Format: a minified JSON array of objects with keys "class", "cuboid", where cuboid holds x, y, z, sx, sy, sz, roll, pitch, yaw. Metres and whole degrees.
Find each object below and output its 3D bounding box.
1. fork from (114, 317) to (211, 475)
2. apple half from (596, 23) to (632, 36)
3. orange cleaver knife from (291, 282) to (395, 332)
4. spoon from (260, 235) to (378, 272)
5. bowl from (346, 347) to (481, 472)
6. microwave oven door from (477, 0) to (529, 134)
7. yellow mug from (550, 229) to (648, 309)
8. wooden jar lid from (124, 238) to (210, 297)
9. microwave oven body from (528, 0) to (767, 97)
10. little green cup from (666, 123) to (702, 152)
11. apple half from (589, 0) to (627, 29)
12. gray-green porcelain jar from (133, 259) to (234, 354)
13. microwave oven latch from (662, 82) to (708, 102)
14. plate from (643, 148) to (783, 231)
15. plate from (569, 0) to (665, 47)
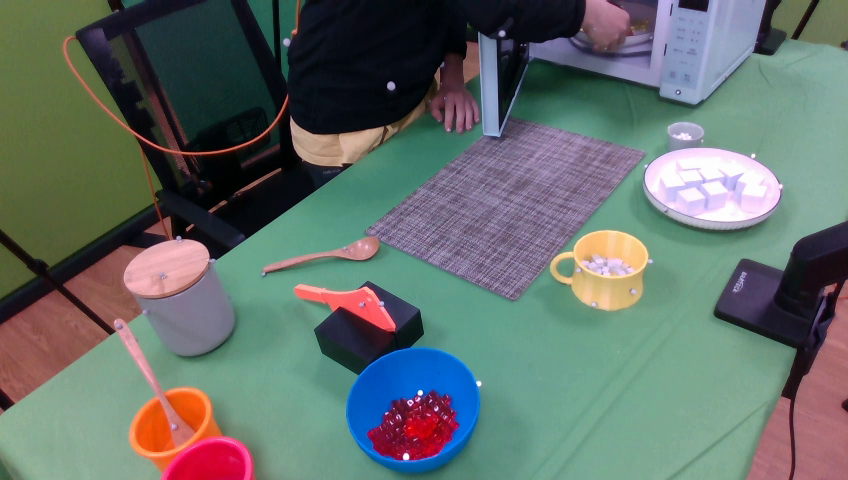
[{"class":"fork","cuboid":[-0.309,0.180,0.708,0.028,0.018,0.207,-30,89,-25]},{"class":"apple half","cuboid":[0.417,-0.460,1.328,0.081,0.033,0.081,-2,38,2]},{"class":"orange cleaver knife","cuboid":[-0.116,0.091,0.835,0.209,0.077,0.012,1,32,47]},{"class":"spoon","cuboid":[-0.168,0.024,0.966,0.194,0.022,0.041,-10,58,-3]},{"class":"bowl","cuboid":[-0.008,0.205,0.691,0.151,0.077,0.150,-4,40,4]},{"class":"microwave oven door","cuboid":[0.167,-0.412,1.229,0.039,0.245,0.355,8,43,16]},{"class":"yellow mug","cuboid":[0.245,0.040,0.857,0.130,0.064,0.099,1,42,11]},{"class":"wooden jar lid","cuboid":[-0.335,0.039,0.794,0.108,0.021,0.108,-2,40,2]},{"class":"microwave oven body","cuboid":[0.473,-0.516,1.313,0.438,0.261,0.327,26,51,34]},{"class":"little green cup","cuboid":[0.472,-0.183,1.102,0.061,0.039,0.061,-5,41,5]},{"class":"apple half","cuboid":[0.416,-0.522,1.375,0.081,0.054,0.074,-41,41,-18]},{"class":"gray-green porcelain jar","cuboid":[-0.328,0.087,0.836,0.106,0.127,0.105,-4,41,4]},{"class":"microwave oven latch","cuboid":[0.518,-0.298,1.202,0.078,0.029,0.030,28,53,35]},{"class":"plate","cuboid":[0.464,-0.080,0.986,0.207,0.039,0.206,-4,41,4]},{"class":"plate","cuboid":[0.431,-0.486,1.366,0.209,0.038,0.208,-3,41,3]}]
